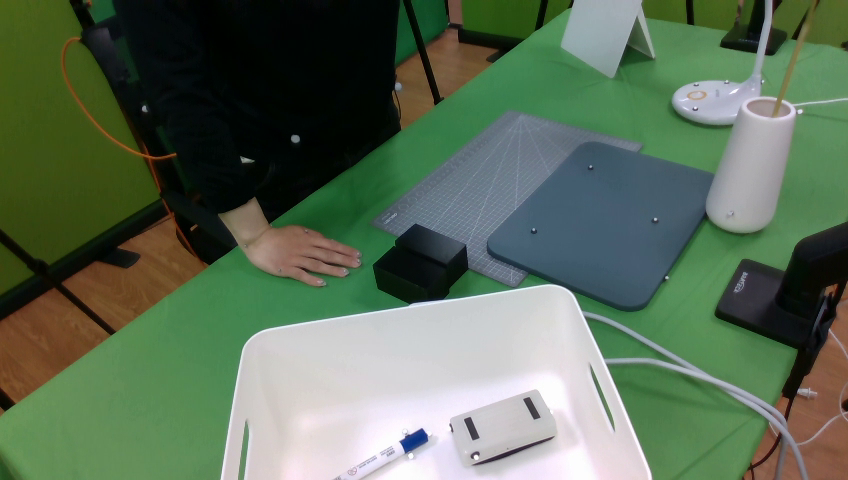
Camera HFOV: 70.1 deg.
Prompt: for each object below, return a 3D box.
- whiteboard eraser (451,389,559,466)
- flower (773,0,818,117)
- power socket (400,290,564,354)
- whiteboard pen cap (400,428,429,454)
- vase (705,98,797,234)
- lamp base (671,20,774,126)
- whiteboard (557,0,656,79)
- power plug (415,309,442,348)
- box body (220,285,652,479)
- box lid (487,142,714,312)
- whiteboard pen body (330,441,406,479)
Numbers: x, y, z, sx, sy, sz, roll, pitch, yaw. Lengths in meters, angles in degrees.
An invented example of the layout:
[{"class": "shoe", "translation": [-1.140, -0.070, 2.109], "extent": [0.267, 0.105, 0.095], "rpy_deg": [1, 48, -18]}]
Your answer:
[{"class": "whiteboard eraser", "translation": [0.090, 0.213, 0.682], "extent": [0.113, 0.042, 0.055], "rpy_deg": [-17, 39, -8]}, {"class": "flower", "translation": [0.436, -0.278, 0.671], "extent": [0.044, 0.364, 0.038], "rpy_deg": [-15, 49, 2]}, {"class": "power socket", "translation": [0.079, 0.111, 0.823], "extent": [0.227, 0.033, 0.072], "rpy_deg": [-6, 41, 1]}, {"class": "whiteboard pen cap", "translation": [-0.012, 0.232, 0.695], "extent": [0.033, 0.018, 0.018], "rpy_deg": [-24, 43, -20]}, {"class": "vase", "translation": [0.480, -0.104, 0.888], "extent": [0.098, 0.201, 0.097], "rpy_deg": [-4, 42, 4]}, {"class": "lamp base", "translation": [0.581, -0.332, 1.154], "extent": [0.179, 0.181, 0.160], "rpy_deg": [2, 41, 7]}, {"class": "whiteboard", "translation": [0.462, -0.542, 1.366], "extent": [0.145, 0.306, 0.215], "rpy_deg": [-3, 36, -25]}, {"class": "power plug", "translation": [0.004, 0.121, 0.786], "extent": [0.035, 0.053, 0.072], "rpy_deg": [1, 45, 8]}, {"class": "box body", "translation": [0.005, 0.211, 0.616], "extent": [0.364, 0.161, 0.252], "rpy_deg": [-9, 40, -2]}, {"class": "box lid", "translation": [0.298, -0.041, 0.986], "extent": [0.261, 0.015, 0.372], "rpy_deg": [23, 49, 30]}, {"class": "whiteboard pen body", "translation": [-0.063, 0.254, 0.677], "extent": [0.141, 0.017, 0.017], "rpy_deg": [-24, 43, -22]}]
